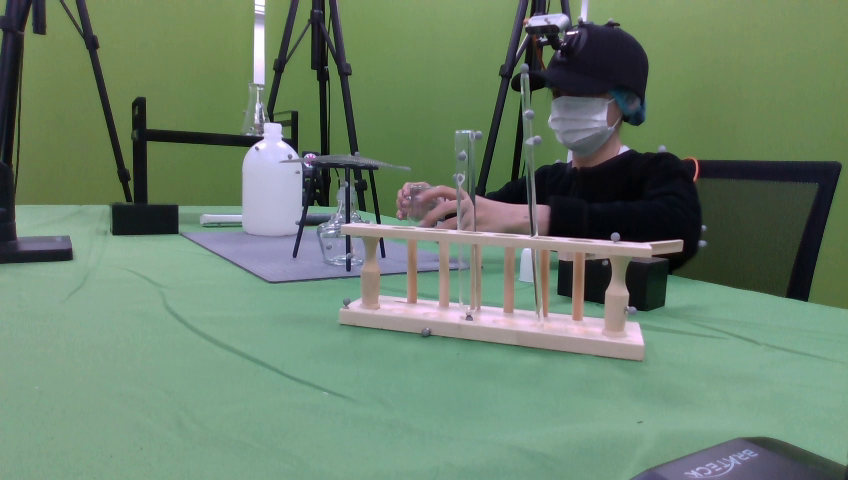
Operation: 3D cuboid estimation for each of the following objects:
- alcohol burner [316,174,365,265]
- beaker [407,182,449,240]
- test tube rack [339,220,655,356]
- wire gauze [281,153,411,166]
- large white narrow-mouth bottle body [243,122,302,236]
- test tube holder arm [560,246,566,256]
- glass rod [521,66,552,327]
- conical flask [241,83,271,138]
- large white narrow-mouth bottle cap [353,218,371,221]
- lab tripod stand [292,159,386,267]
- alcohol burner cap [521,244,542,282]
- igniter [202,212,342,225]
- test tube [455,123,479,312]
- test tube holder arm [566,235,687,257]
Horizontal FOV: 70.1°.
[{"bbox_3d":[-0.102,-0.028,0.790,0.078,0.119,0.078,0,6,0],"label":"alcohol burner"},{"bbox_3d":[0.008,-0.053,1.102,0.083,0.100,0.074,10,12,44],"label":"beaker"},{"bbox_3d":[0.056,0.032,0.495,0.242,0.085,0.067,4,7,15],"label":"test tube rack"},{"bbox_3d":[-0.102,-0.105,0.785,0.121,0.011,0.126,8,8,43],"label":"wire gauze"},{"bbox_3d":[-0.264,-0.109,1.061,0.102,0.194,0.102,2,8,0],"label":"large white narrow-mouth bottle body"},{"bbox_3d":[0.173,0.007,0.611,0.088,0.015,0.010,-3,9,-30],"label":"test tube holder arm"},{"bbox_3d":[0.085,-0.028,0.454,0.008,0.199,0.008,-7,10,2],"label":"glass rod"},{"bbox_3d":[-0.384,-0.297,1.393,0.075,0.122,0.075,2,7,0],"label":"conical flask"},{"bbox_3d":[-0.121,-0.029,1.184,0.038,0.024,0.037,2,8,0],"label":"large white narrow-mouth bottle cap"},{"bbox_3d":[-0.105,-0.039,0.797,0.148,0.131,0.148,2,5,0],"label":"lab tripod stand"},{"bbox_3d":[0.136,0.026,0.740,0.034,0.048,0.034,1,6,0],"label":"alcohol burner cap"},{"bbox_3d":[-0.298,-0.043,1.216,0.278,0.025,0.057,-3,-2,-32],"label":"igniter"},{"bbox_3d":[0.034,-0.016,0.476,0.017,0.150,0.017,-2,10,1],"label":"test tube"},{"bbox_3d":[0.215,0.006,0.630,0.179,0.015,0.013,-3,9,-30],"label":"test tube holder arm"}]
